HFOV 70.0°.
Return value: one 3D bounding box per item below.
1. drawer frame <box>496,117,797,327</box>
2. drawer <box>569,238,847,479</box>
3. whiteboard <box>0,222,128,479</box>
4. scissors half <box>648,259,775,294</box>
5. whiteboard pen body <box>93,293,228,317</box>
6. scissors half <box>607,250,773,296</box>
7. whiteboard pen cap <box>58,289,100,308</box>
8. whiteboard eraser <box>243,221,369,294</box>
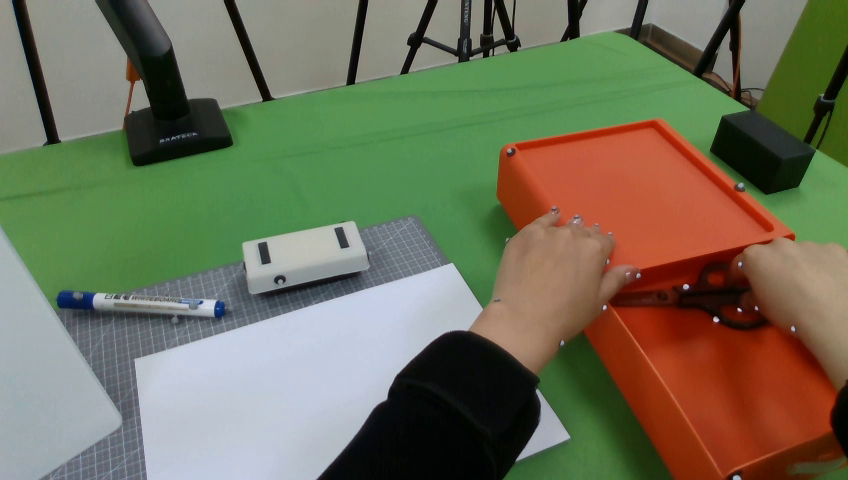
[{"bbox_3d":[0.204,-0.025,0.606,0.202,0.083,0.211,-12,42,-13],"label":"drawer frame"},{"bbox_3d":[0.251,0.086,0.488,0.195,0.074,0.209,-12,43,-12],"label":"drawer"},{"bbox_3d":[-0.385,0.049,0.391,0.217,0.308,0.142,-33,32,-31],"label":"whiteboard"},{"bbox_3d":[0.235,0.036,0.575,0.174,0.040,0.012,-4,39,18],"label":"scissors half"},{"bbox_3d":[-0.250,0.058,0.548,0.141,0.017,0.017,3,41,-1],"label":"whiteboard pen body"},{"bbox_3d":[0.239,0.045,0.583,0.175,0.040,0.012,-18,39,31],"label":"scissors half"},{"bbox_3d":[-0.310,0.053,0.548,0.033,0.018,0.018,3,41,-4],"label":"whiteboard pen cap"},{"bbox_3d":[-0.113,0.018,0.581,0.113,0.042,0.055,-13,42,-14],"label":"whiteboard eraser"}]
